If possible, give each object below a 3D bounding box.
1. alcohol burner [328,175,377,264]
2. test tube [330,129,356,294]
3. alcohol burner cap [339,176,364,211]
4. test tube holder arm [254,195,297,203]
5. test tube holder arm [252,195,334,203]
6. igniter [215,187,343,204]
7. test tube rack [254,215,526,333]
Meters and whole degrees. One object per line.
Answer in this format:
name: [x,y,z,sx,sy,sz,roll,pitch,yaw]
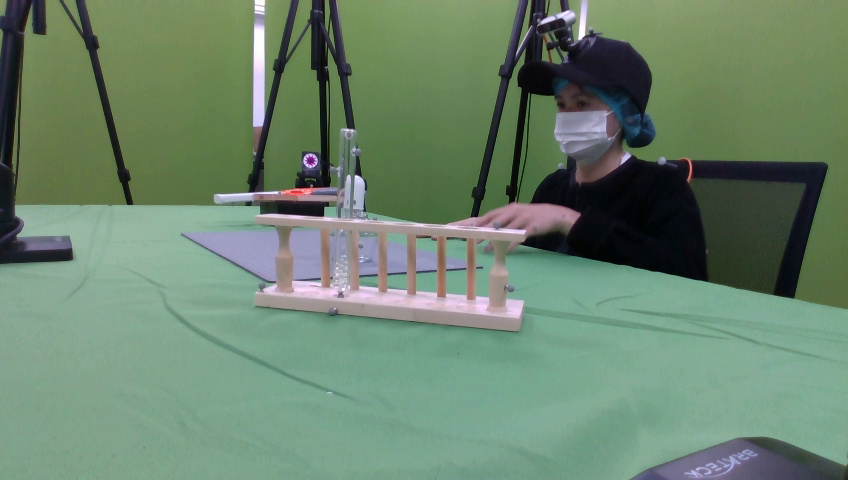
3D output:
alcohol burner: [-0.098,-0.028,0.819,0.078,0.119,0.078,1,8,0]
test tube: [-0.074,-0.025,0.548,0.017,0.150,0.017,4,6,0]
alcohol burner cap: [-0.096,-0.063,0.814,0.034,0.048,0.034,7,6,0]
test tube holder arm: [-0.294,-0.081,1.195,0.088,0.015,0.010,-4,10,-38]
test tube holder arm: [-0.262,-0.085,1.228,0.179,0.015,0.013,-5,10,-40]
igniter: [-0.290,-0.093,1.256,0.278,0.025,0.057,-6,11,-35]
test tube rack: [-0.030,0.025,0.558,0.242,0.085,0.067,4,7,12]
